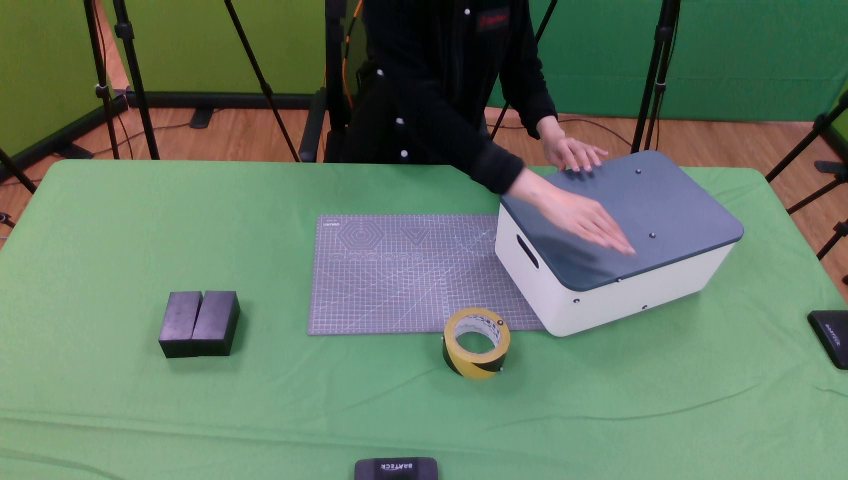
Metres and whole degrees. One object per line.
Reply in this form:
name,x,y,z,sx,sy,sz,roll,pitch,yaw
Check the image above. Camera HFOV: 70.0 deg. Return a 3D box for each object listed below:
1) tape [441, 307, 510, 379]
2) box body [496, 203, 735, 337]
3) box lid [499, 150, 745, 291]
tape,0.087,0.172,1.014,0.117,0.053,0.116,2,48,-2
box body,0.340,0.003,1.118,0.364,0.161,0.252,-15,49,-18
box lid,0.341,-0.049,1.064,0.372,0.015,0.261,-15,48,-18
